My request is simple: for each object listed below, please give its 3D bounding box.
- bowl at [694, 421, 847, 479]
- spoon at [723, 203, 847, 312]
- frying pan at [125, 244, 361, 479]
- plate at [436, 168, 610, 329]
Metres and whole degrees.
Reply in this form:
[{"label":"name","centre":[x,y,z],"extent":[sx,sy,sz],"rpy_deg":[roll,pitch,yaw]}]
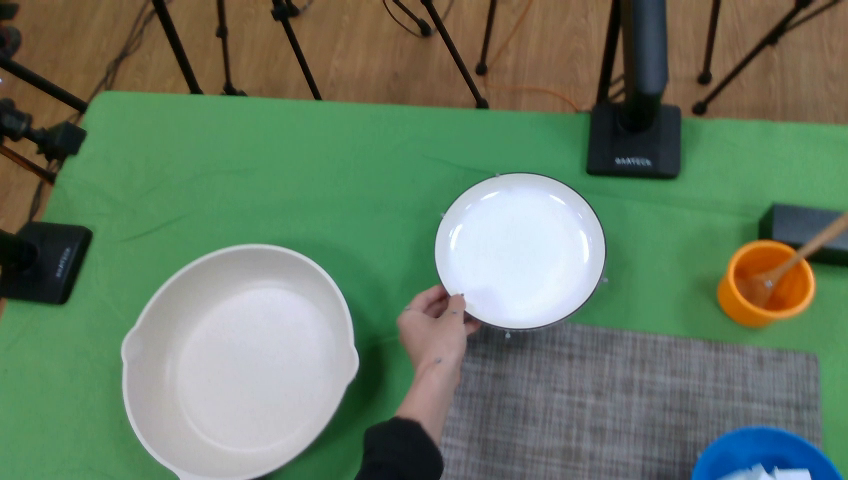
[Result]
[{"label":"bowl","centre":[0.346,0.267,0.619],"extent":[0.151,0.077,0.150],"rpy_deg":[-3,68,8]},{"label":"spoon","centre":[0.415,0.014,0.675],"extent":[0.022,0.194,0.041],"rpy_deg":[-6,53,-42]},{"label":"frying pan","centre":[-0.236,0.240,0.714],"extent":[0.306,0.104,0.484],"rpy_deg":[4,61,12]},{"label":"plate","centre":[0.120,0.011,0.745],"extent":[0.207,0.039,0.206],"rpy_deg":[-3,68,7]}]
